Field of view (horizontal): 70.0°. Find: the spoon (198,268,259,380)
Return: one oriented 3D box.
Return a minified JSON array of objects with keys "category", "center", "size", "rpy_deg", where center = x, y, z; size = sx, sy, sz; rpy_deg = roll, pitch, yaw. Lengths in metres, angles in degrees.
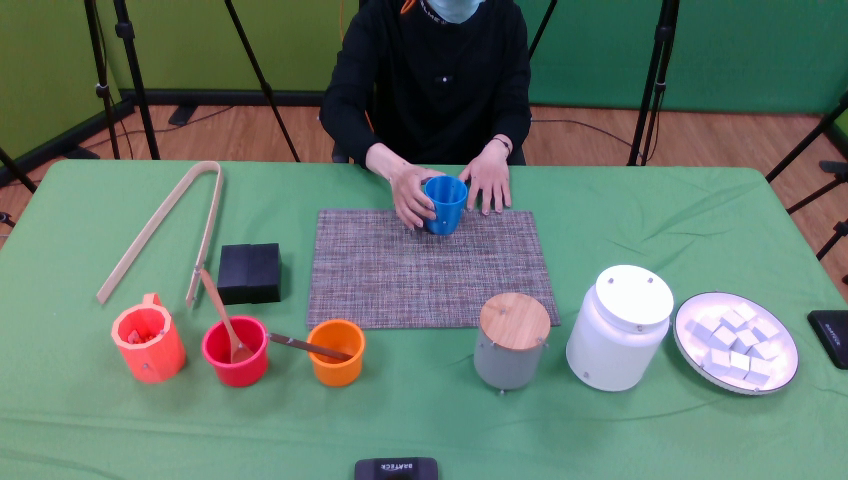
[{"category":"spoon","center":[-0.312,0.132,0.962],"size":[0.041,0.021,0.194],"rpy_deg":[-24,96,-22]}]

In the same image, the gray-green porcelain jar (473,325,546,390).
[{"category":"gray-green porcelain jar","center":[0.135,0.170,0.969],"size":[0.106,0.127,0.105],"rpy_deg":[2,46,-2]}]

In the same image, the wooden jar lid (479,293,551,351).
[{"category":"wooden jar lid","center":[0.137,0.127,0.925],"size":[0.108,0.021,0.107],"rpy_deg":[1,47,-1]}]

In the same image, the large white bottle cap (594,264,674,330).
[{"category":"large white bottle cap","center":[0.314,0.083,0.906],"size":[0.115,0.018,0.114],"rpy_deg":[2,46,-2]}]

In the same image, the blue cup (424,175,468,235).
[{"category":"blue cup","center":[0.038,-0.064,1.200],"size":[0.093,0.100,0.092],"rpy_deg":[4,46,-4]}]

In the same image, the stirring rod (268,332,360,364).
[{"category":"stirring rod","center":[-0.167,0.169,0.942],"size":[0.177,0.006,0.014],"rpy_deg":[27,26,-41]}]

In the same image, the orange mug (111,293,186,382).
[{"category":"orange mug","center":[-0.435,0.149,0.969],"size":[0.083,0.101,0.125],"rpy_deg":[-5,51,-8]}]

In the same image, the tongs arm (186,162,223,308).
[{"category":"tongs arm","center":[-0.435,-0.025,1.181],"size":[0.051,0.027,0.382],"rpy_deg":[-3,45,1]}]

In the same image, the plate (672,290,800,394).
[{"category":"plate","center":[0.533,0.178,1.050],"size":[0.208,0.039,0.206],"rpy_deg":[2,46,-2]}]

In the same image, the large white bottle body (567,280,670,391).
[{"category":"large white bottle body","center":[0.310,0.141,0.968],"size":[0.131,0.185,0.130],"rpy_deg":[2,46,-2]}]

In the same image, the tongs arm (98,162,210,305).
[{"category":"tongs arm","center":[-0.519,-0.027,1.184],"size":[0.028,0.028,0.385],"rpy_deg":[4,45,13]}]
